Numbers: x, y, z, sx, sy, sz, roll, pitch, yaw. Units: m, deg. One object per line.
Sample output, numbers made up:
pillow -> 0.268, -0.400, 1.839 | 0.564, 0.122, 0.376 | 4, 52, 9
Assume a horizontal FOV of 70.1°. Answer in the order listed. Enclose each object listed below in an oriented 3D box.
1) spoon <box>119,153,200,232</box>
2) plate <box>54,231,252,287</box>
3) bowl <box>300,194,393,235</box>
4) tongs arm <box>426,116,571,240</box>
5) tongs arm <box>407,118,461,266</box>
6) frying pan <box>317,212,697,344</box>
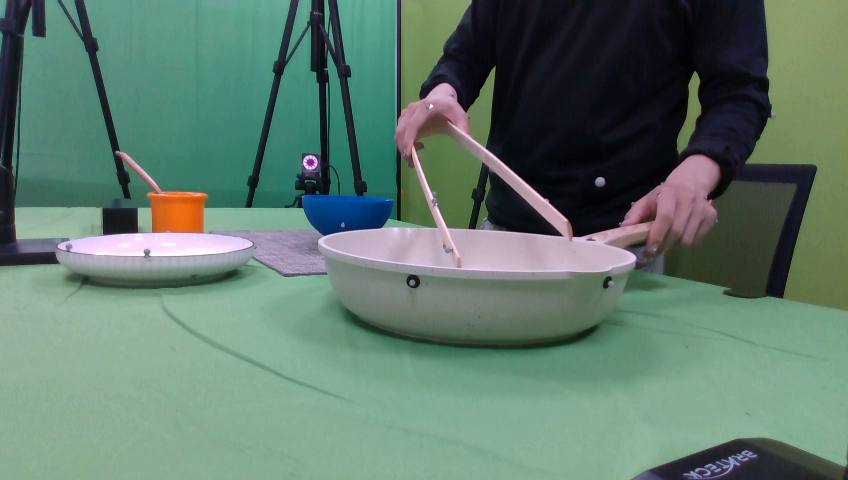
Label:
spoon -> -0.439, -0.077, 1.001 | 0.021, 0.193, 0.042 | -43, -6, 22
plate -> -0.309, 0.020, 0.705 | 0.208, 0.039, 0.207 | 2, 7, 0
bowl -> -0.128, -0.034, 0.995 | 0.151, 0.077, 0.151 | 2, 7, 0
tongs arm -> 0.077, -0.092, 0.738 | 0.028, 0.028, 0.386 | -26, 32, -6
tongs arm -> 0.018, -0.073, 0.734 | 0.051, 0.026, 0.383 | -19, 31, -2
frying pan -> 0.133, 0.013, 0.629 | 0.490, 0.102, 0.305 | -12, 14, -31
